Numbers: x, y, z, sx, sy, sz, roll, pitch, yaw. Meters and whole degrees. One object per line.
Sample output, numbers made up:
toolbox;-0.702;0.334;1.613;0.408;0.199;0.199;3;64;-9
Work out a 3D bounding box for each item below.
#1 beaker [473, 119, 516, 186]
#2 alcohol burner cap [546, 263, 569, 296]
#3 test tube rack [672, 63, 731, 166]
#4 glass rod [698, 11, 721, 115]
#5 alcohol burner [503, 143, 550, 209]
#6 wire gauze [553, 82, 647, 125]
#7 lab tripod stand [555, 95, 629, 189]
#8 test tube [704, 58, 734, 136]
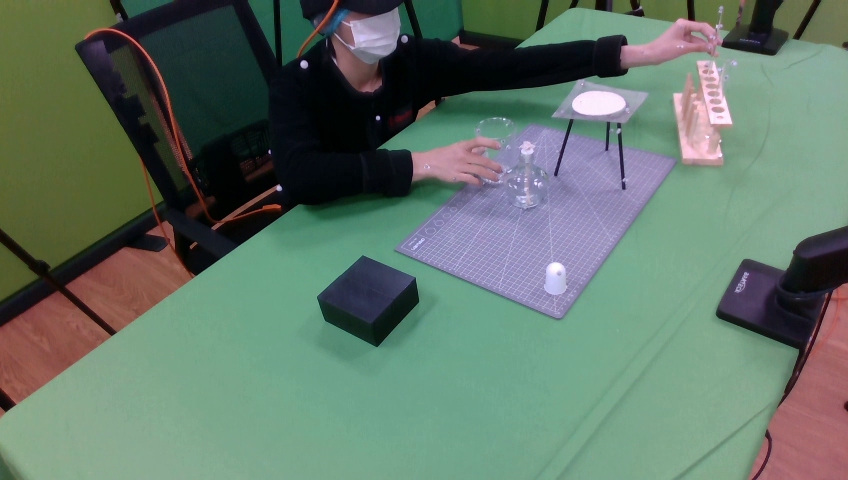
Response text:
beaker;0.130;-0.156;1.077;0.073;0.101;0.084;25;49;33
alcohol burner cap;0.191;0.053;0.862;0.034;0.048;0.033;-5;40;4
test tube rack;0.513;-0.240;1.132;0.066;0.085;0.242;4;41;14
glass rod;0.529;-0.323;1.124;0.008;0.200;0.008;-4;39;4
alcohol burner;0.171;-0.112;1.006;0.078;0.119;0.077;-3;41;3
wire gauze;0.293;-0.225;1.002;0.120;0.011;0.125;17;45;27
lab tripod stand;0.301;-0.174;1.045;0.148;0.132;0.147;-5;38;5
test tube;0.517;-0.247;1.062;0.017;0.151;0.017;-3;43;4
